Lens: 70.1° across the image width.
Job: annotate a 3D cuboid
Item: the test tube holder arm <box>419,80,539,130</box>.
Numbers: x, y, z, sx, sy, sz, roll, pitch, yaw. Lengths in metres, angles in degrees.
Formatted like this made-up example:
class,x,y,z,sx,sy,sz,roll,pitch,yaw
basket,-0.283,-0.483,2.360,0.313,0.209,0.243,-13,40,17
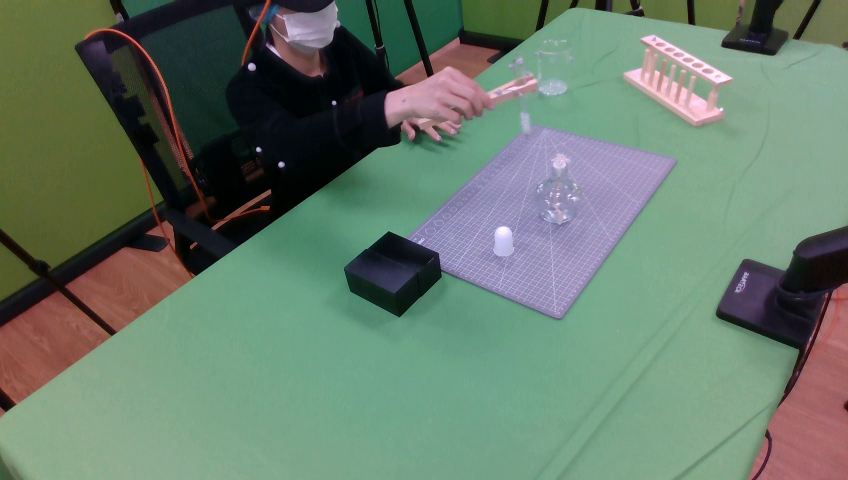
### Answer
class,x,y,z,sx,sy,sz,roll,pitch,yaw
test tube holder arm,0.078,-0.194,0.866,0.178,0.015,0.013,-20,51,2

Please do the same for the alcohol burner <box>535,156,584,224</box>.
class,x,y,z,sx,sy,sz,roll,pitch,yaw
alcohol burner,0.217,-0.085,0.967,0.078,0.119,0.077,-3,41,3

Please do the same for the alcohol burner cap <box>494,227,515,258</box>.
class,x,y,z,sx,sy,sz,roll,pitch,yaw
alcohol burner cap,0.124,0.001,0.936,0.034,0.048,0.033,-4,40,4

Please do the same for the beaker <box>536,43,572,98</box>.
class,x,y,z,sx,sy,sz,roll,pitch,yaw
beaker,0.280,-0.368,1.311,0.074,0.101,0.084,4,41,14

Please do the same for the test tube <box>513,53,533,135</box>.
class,x,y,z,sx,sy,sz,roll,pitch,yaw
test tube,0.146,-0.209,0.882,0.017,0.151,0.017,-7,54,11

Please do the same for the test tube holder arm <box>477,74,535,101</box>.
class,x,y,z,sx,sy,sz,roll,pitch,yaw
test tube holder arm,0.118,-0.215,0.869,0.088,0.015,0.010,-25,52,-3

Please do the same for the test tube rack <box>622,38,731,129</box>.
class,x,y,z,sx,sy,sz,roll,pitch,yaw
test tube rack,0.506,-0.325,1.234,0.067,0.085,0.240,-18,41,-11
